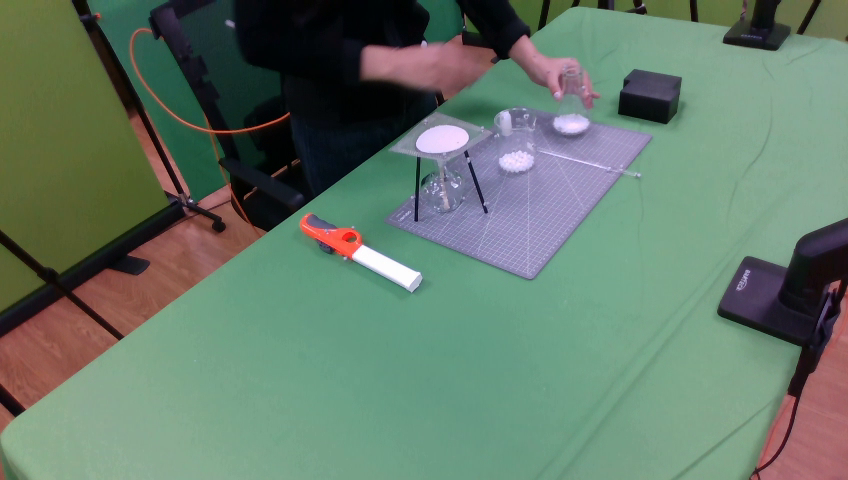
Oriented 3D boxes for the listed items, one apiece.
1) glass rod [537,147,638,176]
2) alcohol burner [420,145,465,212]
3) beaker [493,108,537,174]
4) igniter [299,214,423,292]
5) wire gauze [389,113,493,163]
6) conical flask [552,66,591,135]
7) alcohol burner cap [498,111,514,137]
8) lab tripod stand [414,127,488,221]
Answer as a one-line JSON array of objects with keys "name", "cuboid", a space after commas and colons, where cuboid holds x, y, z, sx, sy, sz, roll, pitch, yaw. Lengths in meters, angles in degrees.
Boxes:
[{"name": "glass rod", "cuboid": [0.294, -0.145, 1.104, 0.198, 0.008, 0.008, 22, 50, 31]}, {"name": "alcohol burner", "cuboid": [0.031, -0.108, 1.030, 0.078, 0.119, 0.077, -5, 38, 4]}, {"name": "beaker", "cuboid": [0.170, -0.177, 1.096, 0.074, 0.101, 0.083, -34, 47, -25]}, {"name": "igniter", "cuboid": [-0.113, 0.016, 0.983, 0.274, 0.025, 0.057, 26, 62, 35]}, {"name": "wire gauze", "cuboid": [0.026, -0.164, 0.977, 0.120, 0.011, 0.125, 23, 49, 35]}, {"name": "conical flask", "cuboid": [0.279, -0.266, 1.144, 0.075, 0.122, 0.075, -6, 43, 6]}, {"name": "alcohol burner cap", "cuboid": [0.163, -0.234, 1.211, 0.034, 0.048, 0.033, -6, 39, 6]}, {"name": "lab tripod stand", "cuboid": [0.035, -0.114, 1.021, 0.148, 0.132, 0.147, -7, 39, 6]}]
